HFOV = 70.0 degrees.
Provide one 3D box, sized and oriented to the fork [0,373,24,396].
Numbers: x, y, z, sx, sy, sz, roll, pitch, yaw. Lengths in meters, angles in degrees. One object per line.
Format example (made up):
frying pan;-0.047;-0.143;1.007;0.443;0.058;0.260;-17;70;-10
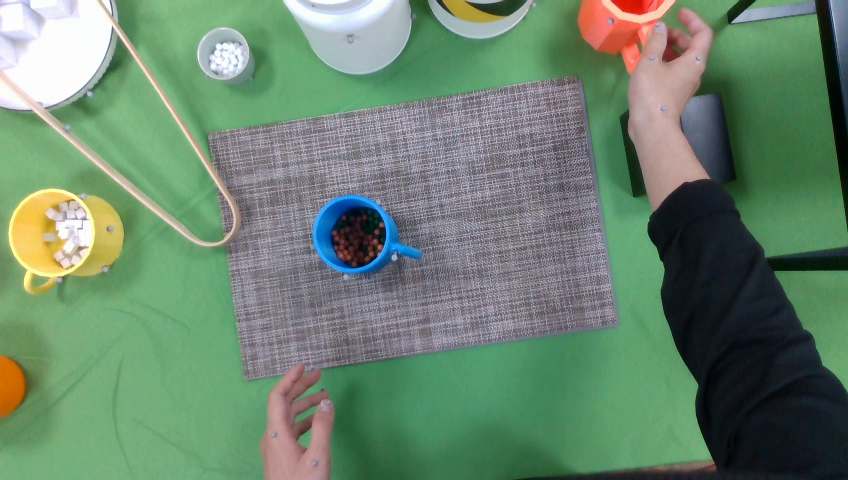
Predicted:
fork;-0.564;0.165;0.664;0.209;0.018;0.028;6;87;-42

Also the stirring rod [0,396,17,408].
stirring rod;-0.553;0.182;0.667;0.006;0.177;0.014;-19;69;44

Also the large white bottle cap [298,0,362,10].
large white bottle cap;-0.088;-0.273;0.562;0.115;0.018;0.114;0;89;2

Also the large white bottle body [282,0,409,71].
large white bottle body;-0.085;-0.271;0.646;0.130;0.185;0.130;0;88;1

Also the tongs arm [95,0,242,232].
tongs arm;-0.320;-0.179;0.707;0.028;0.027;0.388;-34;95;-8

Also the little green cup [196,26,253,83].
little green cup;-0.235;-0.218;0.721;0.061;0.038;0.061;0;90;1

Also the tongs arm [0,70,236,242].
tongs arm;-0.383;-0.123;0.703;0.385;0.026;0.051;43;86;-5

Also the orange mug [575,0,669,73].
orange mug;0.230;-0.257;0.683;0.083;0.101;0.126;-18;84;1

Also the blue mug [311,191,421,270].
blue mug;-0.059;-0.003;0.677;0.116;0.106;0.082;17;89;2

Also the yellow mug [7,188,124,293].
yellow mug;-0.424;0.005;0.707;0.100;0.064;0.131;30;91;1

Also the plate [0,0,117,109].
plate;-0.468;-0.258;0.727;0.208;0.039;0.207;0;89;1

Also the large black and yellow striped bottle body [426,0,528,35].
large black and yellow striped bottle body;0.061;-0.313;0.645;0.131;0.184;0.130;0;88;2
